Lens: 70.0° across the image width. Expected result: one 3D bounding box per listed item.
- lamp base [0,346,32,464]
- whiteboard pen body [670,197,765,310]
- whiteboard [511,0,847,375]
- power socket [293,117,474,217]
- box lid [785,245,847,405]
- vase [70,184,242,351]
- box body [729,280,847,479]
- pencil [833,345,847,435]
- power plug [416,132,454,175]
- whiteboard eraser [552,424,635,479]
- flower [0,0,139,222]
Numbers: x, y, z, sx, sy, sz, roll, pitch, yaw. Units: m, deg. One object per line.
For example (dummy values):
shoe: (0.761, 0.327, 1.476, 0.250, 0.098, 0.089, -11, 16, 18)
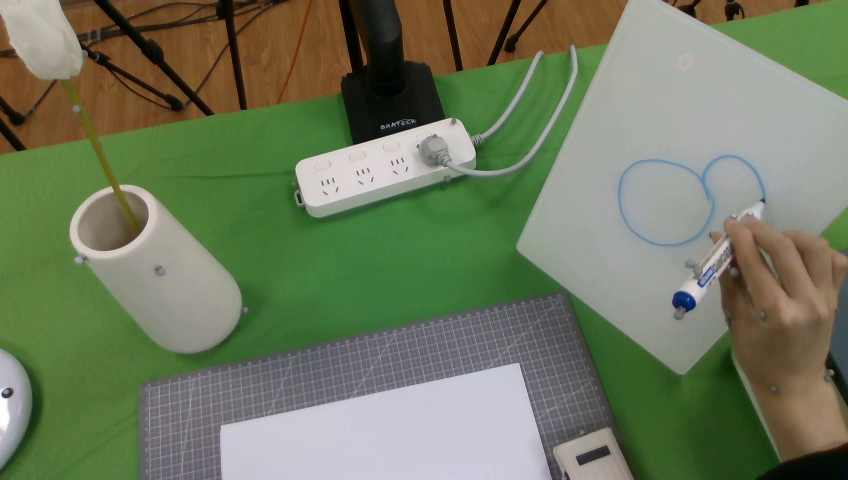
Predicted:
lamp base: (-0.479, 0.132, 0.523, 0.178, 0.182, 0.159, 17, 62, 14)
whiteboard pen body: (0.216, 0.005, 0.436, 0.017, 0.017, 0.140, 40, 58, 21)
whiteboard: (0.252, -0.058, 0.575, 0.215, 0.307, 0.144, 40, 50, 21)
power socket: (-0.046, -0.088, 0.718, 0.227, 0.033, 0.071, -17, 63, -8)
box lid: (0.451, 0.145, 0.421, 0.263, 0.015, 0.368, -13, 63, -6)
vase: (-0.242, 0.031, 0.563, 0.098, 0.201, 0.097, -1, 61, 3)
box body: (0.453, 0.183, 0.485, 0.254, 0.161, 0.360, -13, 62, -6)
pencil: (0.400, 0.192, 0.563, 0.012, 0.012, 0.192, 6, 64, 5)
power plug: (0.012, -0.091, 0.692, 0.035, 0.053, 0.072, -8, 63, -3)
whiteboard eraser: (0.161, 0.225, 0.535, 0.056, 0.042, 0.111, -15, 62, -11)
flower: (-0.242, -0.026, 0.500, 0.038, 0.365, 0.043, -23, 45, -18)
